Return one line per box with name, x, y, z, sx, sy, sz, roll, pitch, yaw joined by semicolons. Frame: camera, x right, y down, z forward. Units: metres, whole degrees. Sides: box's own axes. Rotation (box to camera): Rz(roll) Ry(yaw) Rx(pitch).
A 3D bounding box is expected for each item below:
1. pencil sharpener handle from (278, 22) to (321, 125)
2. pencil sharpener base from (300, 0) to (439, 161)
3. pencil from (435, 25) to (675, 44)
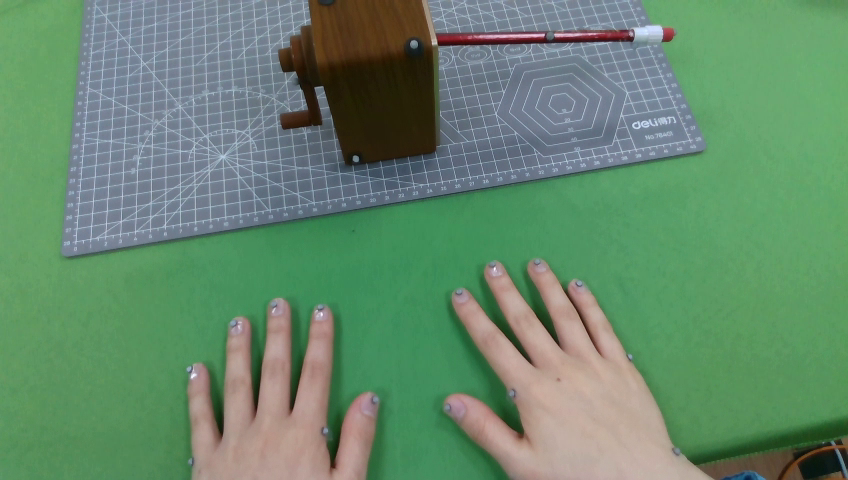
pencil sharpener handle;-0.083;-0.100;0.379;0.031;0.068;0.035;-10;50;-3
pencil sharpener base;-0.033;-0.107;0.395;0.077;0.108;0.061;-10;65;-3
pencil;0.068;-0.130;0.384;0.194;0.012;0.012;-4;64;-9
